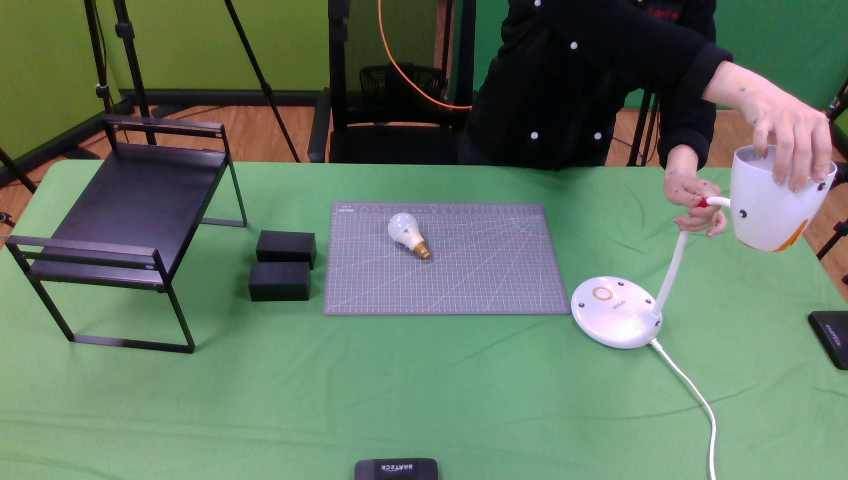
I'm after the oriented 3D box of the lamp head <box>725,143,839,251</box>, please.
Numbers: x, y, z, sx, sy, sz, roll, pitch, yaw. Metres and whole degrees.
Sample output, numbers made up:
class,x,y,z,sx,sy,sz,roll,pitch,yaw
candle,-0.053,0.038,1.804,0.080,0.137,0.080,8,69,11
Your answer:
class,x,y,z,sx,sy,sz,roll,pitch,yaw
lamp head,0.430,-0.050,0.753,0.112,0.123,0.112,1,33,-1

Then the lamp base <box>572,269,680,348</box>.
class,x,y,z,sx,sy,sz,roll,pitch,yaw
lamp base,0.360,0.080,1.035,0.160,0.181,0.178,-34,59,-30

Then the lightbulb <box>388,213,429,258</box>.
class,x,y,z,sx,sy,sz,roll,pitch,yaw
lightbulb,-0.027,-0.007,1.179,0.059,0.060,0.107,-31,71,-29
